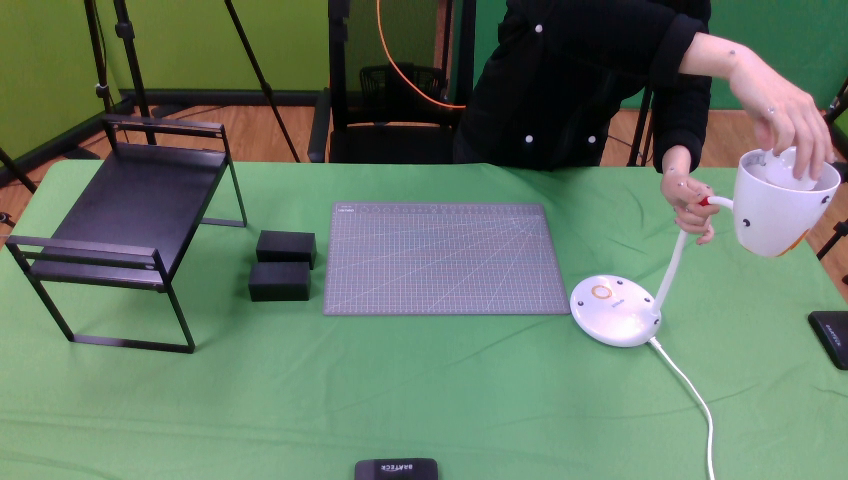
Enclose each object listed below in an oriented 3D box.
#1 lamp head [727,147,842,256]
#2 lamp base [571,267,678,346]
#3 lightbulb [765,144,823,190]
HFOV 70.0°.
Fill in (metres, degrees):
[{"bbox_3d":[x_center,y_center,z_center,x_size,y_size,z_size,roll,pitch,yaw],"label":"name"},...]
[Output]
[{"bbox_3d":[0.436,-0.043,0.759,0.112,0.123,0.111,1,40,-1],"label":"lamp head"},{"bbox_3d":[0.359,0.077,1.038,0.160,0.181,0.178,-34,59,-31],"label":"lamp base"},{"bbox_3d":[0.444,-0.065,0.741,0.059,0.108,0.059,0,33,1],"label":"lightbulb"}]
